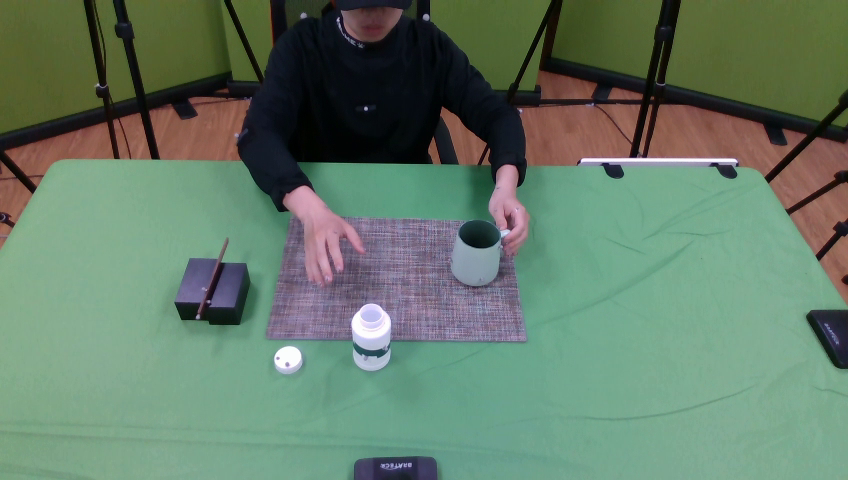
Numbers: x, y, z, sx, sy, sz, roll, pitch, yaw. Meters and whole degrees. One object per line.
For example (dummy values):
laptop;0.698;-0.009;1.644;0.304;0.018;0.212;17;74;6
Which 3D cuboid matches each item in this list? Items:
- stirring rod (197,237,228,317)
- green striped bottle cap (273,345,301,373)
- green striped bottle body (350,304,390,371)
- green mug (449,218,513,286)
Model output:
stirring rod;-0.363;0.060;1.047;0.006;0.014;0.175;7;46;-3
green striped bottle cap;-0.225;0.195;0.997;0.044;0.020;0.044;1;50;-1
green striped bottle body;-0.086;0.154;0.976;0.063;0.120;0.063;2;46;-2
green mug;0.110;0.018;1.126;0.125;0.105;0.092;-19;50;-21
